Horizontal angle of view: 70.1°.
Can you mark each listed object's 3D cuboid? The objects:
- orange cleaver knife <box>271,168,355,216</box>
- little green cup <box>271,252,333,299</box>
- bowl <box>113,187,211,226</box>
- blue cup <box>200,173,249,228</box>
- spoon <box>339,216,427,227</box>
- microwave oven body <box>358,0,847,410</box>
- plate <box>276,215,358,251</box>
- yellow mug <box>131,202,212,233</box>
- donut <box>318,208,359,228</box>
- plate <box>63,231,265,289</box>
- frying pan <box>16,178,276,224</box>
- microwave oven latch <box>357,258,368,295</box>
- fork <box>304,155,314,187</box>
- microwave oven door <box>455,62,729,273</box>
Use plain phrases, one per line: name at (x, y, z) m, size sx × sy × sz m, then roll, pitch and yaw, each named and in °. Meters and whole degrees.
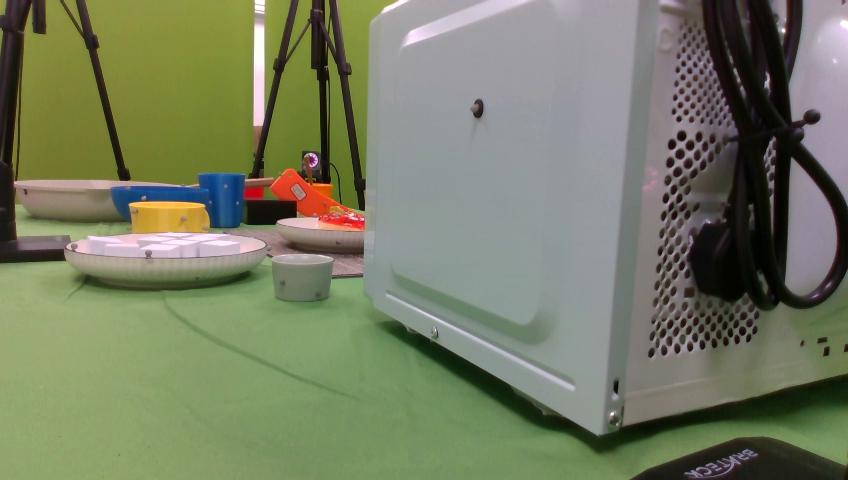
orange cleaver knife at (-0.236, -0.084, 1.333) m, size 0.212 × 0.077 × 0.012 m, roll 31°, pitch -9°, yaw -32°
little green cup at (-0.122, 0.035, 0.605) m, size 0.061 × 0.038 × 0.061 m, roll 3°, pitch 7°, yaw 0°
bowl at (-0.436, -0.046, 1.013) m, size 0.151 × 0.077 × 0.151 m, roll 2°, pitch 7°, yaw 0°
blue cup at (-0.380, -0.076, 1.154) m, size 0.093 × 0.100 × 0.092 m, roll 0°, pitch 8°, yaw 0°
spoon at (-0.087, -0.041, 1.268) m, size 0.193 × 0.021 × 0.041 m, roll 3°, pitch 19°, yaw 14°
microwave oven body at (0.210, -0.051, 0.471) m, size 0.444 × 0.260 × 0.324 m, roll -1°, pitch 7°, yaw -28°
plate at (-0.126, -0.012, 0.950) m, size 0.209 × 0.038 × 0.209 m, roll 2°, pitch 7°, yaw 0°
yellow mug at (-0.356, -0.020, 0.878) m, size 0.099 × 0.064 × 0.131 m, roll 5°, pitch 7°, yaw 21°
donut at (-0.118, -0.024, 0.954) m, size 0.099 × 0.048 × 0.099 m, roll 6°, pitch 7°, yaw 0°
plate at (-0.288, 0.021, 0.687) m, size 0.208 × 0.039 × 0.207 m, roll 2°, pitch 8°, yaw 0°
frying pan at (-0.553, -0.097, 1.266) m, size 0.490 × 0.102 × 0.305 m, roll -10°, pitch 13°, yaw -24°
microwave oven latch at (-0.019, 0.031, 0.529) m, size 0.079 × 0.029 × 0.030 m, roll -1°, pitch 7°, yaw -27°
fork at (-0.268, -0.134, 1.446) m, size 0.028 × 0.018 × 0.207 m, roll 1°, pitch -36°, yaw -1°
microwave oven door at (0.199, -0.099, 0.800) m, size 0.354 × 0.243 × 0.039 m, roll 7°, pitch 10°, yaw 37°
